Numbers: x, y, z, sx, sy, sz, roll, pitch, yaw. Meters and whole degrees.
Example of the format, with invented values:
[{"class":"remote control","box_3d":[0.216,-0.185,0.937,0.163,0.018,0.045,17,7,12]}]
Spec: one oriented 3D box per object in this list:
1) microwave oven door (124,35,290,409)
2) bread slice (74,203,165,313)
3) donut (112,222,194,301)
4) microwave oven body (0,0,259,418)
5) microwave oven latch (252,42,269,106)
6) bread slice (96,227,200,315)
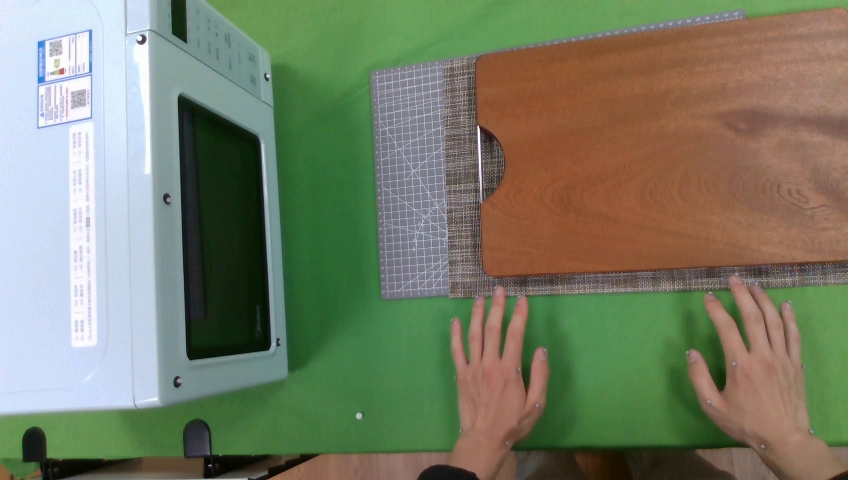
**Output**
[{"class":"microwave oven door","box_3d":[-0.232,-0.010,0.675,0.039,0.245,0.354,-8,83,15]},{"class":"bread slice","box_3d":[-0.352,0.030,0.693,0.134,0.018,0.106,-19,82,26]},{"class":"donut","box_3d":[-0.330,0.027,0.737,0.099,0.048,0.099,0,101,3]},{"class":"microwave oven body","box_3d":[-0.376,-0.033,0.720,0.325,0.261,0.440,-7,84,13]},{"class":"microwave oven latch","box_3d":[-0.224,-0.216,0.798,0.030,0.029,0.079,-7,84,14]},{"class":"bread slice","box_3d":[-0.355,0.036,0.771,0.131,0.019,0.105,7,92,8]}]
